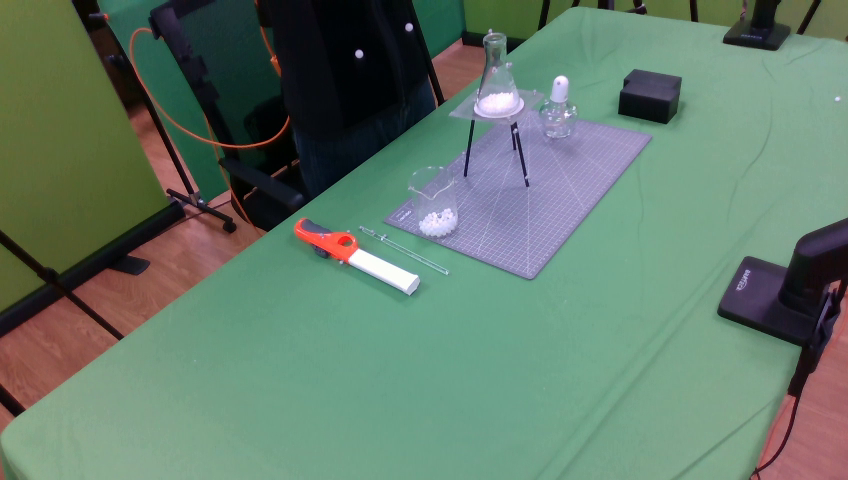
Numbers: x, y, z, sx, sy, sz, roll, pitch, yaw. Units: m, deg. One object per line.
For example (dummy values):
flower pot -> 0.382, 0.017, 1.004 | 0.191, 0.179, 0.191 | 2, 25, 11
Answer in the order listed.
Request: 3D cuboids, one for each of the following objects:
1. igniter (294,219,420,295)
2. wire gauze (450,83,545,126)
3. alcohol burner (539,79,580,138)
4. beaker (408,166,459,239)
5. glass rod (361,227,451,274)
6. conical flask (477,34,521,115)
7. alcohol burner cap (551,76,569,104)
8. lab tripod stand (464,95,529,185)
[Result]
igniter -> -0.118, 0.022, 0.977 | 0.274, 0.025, 0.057 | 24, 60, 34
wire gauze -> 0.126, -0.232, 1.041 | 0.120, 0.011, 0.125 | 17, 48, 31
alcohol burner -> 0.261, -0.258, 1.164 | 0.078, 0.119, 0.077 | -4, 42, 4
beaker -> 0.018, -0.057, 0.984 | 0.074, 0.101, 0.083 | -6, 41, 5
glass rod -> -0.033, 0.014, 0.985 | 0.198, 0.008, 0.008 | 25, 52, 34
conical flask -> 0.121, -0.275, 0.999 | 0.075, 0.122, 0.075 | -5, 40, 5
alcohol burner cap -> 0.258, -0.285, 1.140 | 0.034, 0.048, 0.033 | -2, 47, 2
lab tripod stand -> 0.138, -0.182, 1.082 | 0.148, 0.132, 0.147 | -6, 38, 5
